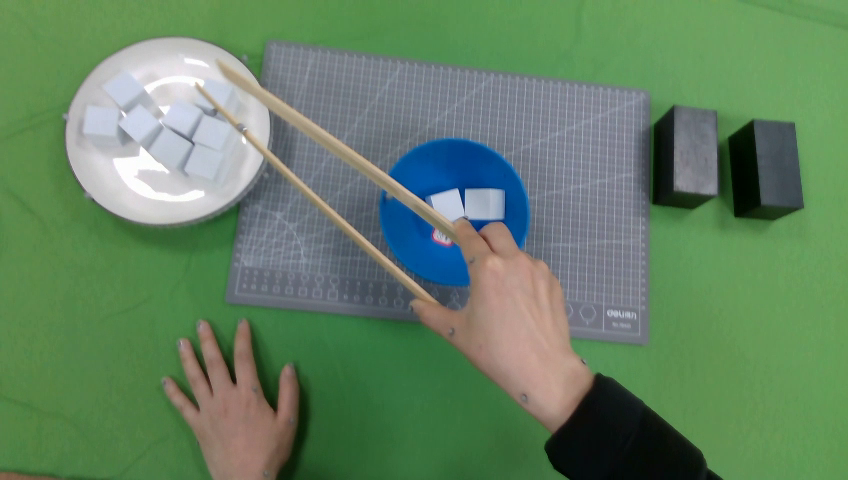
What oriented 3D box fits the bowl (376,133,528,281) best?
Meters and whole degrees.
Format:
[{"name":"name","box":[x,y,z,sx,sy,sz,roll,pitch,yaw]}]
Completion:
[{"name":"bowl","box":[0.025,-0.025,0.625,0.151,0.077,0.150,1,77,-6]}]

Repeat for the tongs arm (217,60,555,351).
[{"name":"tongs arm","box":[-0.044,-0.043,0.504,0.385,0.028,0.028,38,69,16]}]

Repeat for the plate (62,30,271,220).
[{"name":"plate","box":[-0.265,-0.119,0.639,0.208,0.039,0.206,1,78,-4]}]

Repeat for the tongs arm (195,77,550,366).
[{"name":"tongs arm","box":[-0.057,-0.029,0.499,0.051,0.027,0.382,-41,72,-15]}]
